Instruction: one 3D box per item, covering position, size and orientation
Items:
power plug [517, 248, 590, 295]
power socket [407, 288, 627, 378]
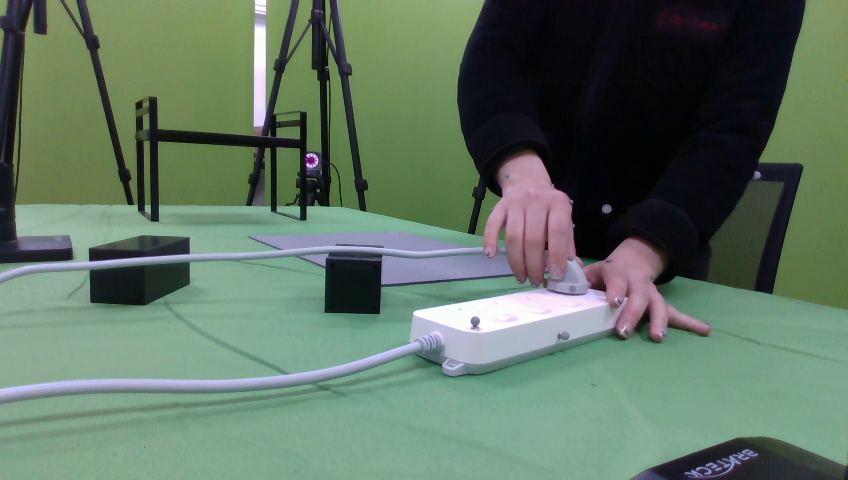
[{"bbox_3d":[0.119,0.036,0.554,0.035,0.052,0.072,-1,10,-32],"label":"power plug"},{"bbox_3d":[0.083,0.066,0.484,0.228,0.032,0.072,-4,9,-43],"label":"power socket"}]
